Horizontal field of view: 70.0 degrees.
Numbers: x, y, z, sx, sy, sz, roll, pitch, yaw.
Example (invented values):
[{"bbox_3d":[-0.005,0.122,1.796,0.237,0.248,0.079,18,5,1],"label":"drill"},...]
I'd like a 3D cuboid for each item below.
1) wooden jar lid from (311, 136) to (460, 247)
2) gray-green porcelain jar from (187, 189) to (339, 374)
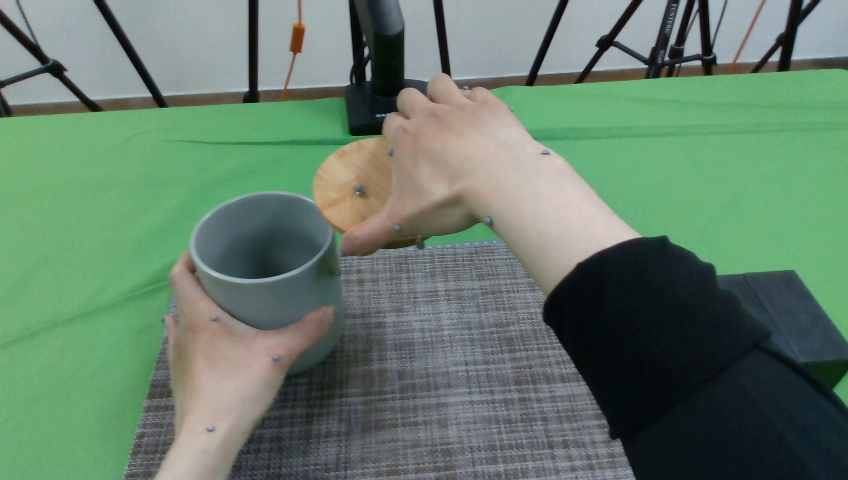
[{"bbox_3d":[-0.028,-0.035,0.444,0.108,0.021,0.107,4,50,-4],"label":"wooden jar lid"},{"bbox_3d":[-0.124,0.039,0.495,0.106,0.127,0.105,1,42,-1],"label":"gray-green porcelain jar"}]
